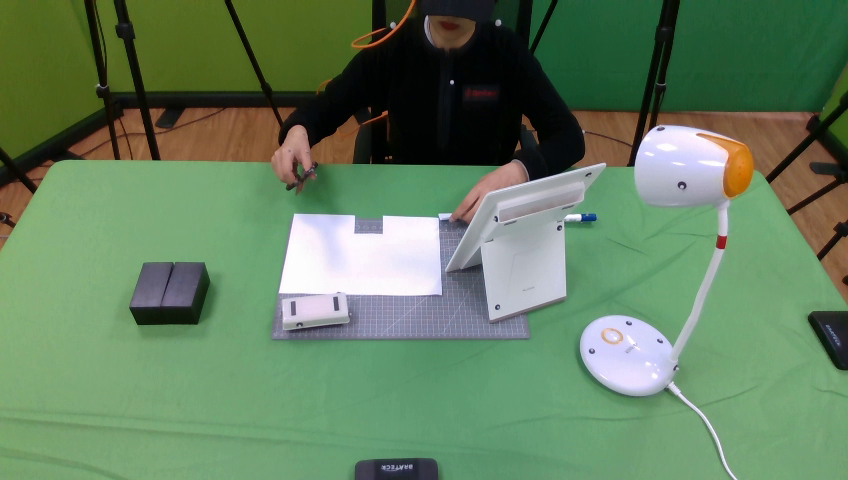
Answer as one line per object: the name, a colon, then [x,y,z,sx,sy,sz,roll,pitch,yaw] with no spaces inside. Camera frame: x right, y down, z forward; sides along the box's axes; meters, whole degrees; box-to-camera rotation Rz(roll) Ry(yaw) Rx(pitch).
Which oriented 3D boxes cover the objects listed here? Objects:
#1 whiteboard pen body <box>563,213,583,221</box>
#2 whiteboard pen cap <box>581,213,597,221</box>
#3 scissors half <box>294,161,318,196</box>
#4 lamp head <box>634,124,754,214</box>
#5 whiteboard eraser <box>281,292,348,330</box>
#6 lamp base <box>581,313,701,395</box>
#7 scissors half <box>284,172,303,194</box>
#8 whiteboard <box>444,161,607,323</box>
whiteboard pen body: [0.283,-0.047,1.257,0.141,0.017,0.017,-1,46,-2]
whiteboard pen cap: [0.342,-0.048,1.260,0.033,0.018,0.018,-3,46,-3]
scissors half: [-0.229,-0.117,1.156,0.040,0.013,0.174,-28,23,15]
lamp head: [0.351,-0.089,0.775,0.112,0.113,0.122,-30,30,-28]
whiteboard eraser: [-0.189,0.124,1.045,0.113,0.042,0.055,-6,46,-10]
lamp base: [0.361,0.144,0.973,0.178,0.181,0.160,34,53,23]
scissors half: [-0.247,-0.105,1.158,0.040,0.013,0.174,-42,22,-4]
whiteboard: [0.186,0.025,1.029,0.217,0.306,0.143,-14,68,-18]
